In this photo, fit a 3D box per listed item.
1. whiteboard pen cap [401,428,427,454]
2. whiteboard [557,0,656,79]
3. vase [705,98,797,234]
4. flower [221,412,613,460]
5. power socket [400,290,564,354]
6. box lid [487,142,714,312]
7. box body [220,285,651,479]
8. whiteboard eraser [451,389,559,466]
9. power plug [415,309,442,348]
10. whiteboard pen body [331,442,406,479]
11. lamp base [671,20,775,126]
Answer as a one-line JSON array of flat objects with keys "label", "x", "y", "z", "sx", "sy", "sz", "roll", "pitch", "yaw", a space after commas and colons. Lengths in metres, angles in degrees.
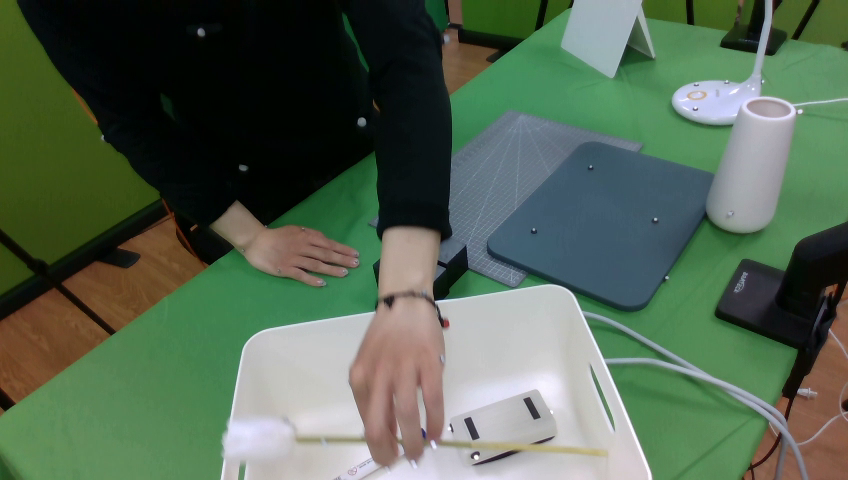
[{"label": "whiteboard pen cap", "x": -0.012, "y": 0.232, "z": 0.695, "sx": 0.033, "sy": 0.018, "sz": 0.018, "roll": -24, "pitch": 43, "yaw": -20}, {"label": "whiteboard", "x": 0.462, "y": -0.542, "z": 1.366, "sx": 0.145, "sy": 0.306, "sz": 0.215, "roll": -3, "pitch": 36, "yaw": -25}, {"label": "vase", "x": 0.480, "y": -0.103, "z": 0.888, "sx": 0.098, "sy": 0.201, "sz": 0.097, "roll": -4, "pitch": 42, "yaw": 4}, {"label": "flower", "x": 0.007, "y": 0.178, "z": 0.547, "sx": 0.363, "sy": 0.038, "sz": 0.044, "roll": 5, "pitch": 12, "yaw": -12}, {"label": "power socket", "x": 0.079, "y": 0.111, "z": 0.823, "sx": 0.227, "sy": 0.033, "sz": 0.072, "roll": -6, "pitch": 41, "yaw": 1}, {"label": "box lid", "x": 0.298, "y": -0.041, "z": 0.986, "sx": 0.261, "sy": 0.015, "sz": 0.372, "roll": 23, "pitch": 49, "yaw": 30}, {"label": "box body", "x": 0.005, "y": 0.211, "z": 0.616, "sx": 0.364, "sy": 0.161, "sz": 0.252, "roll": -9, "pitch": 40, "yaw": -2}, {"label": "whiteboard eraser", "x": 0.090, "y": 0.213, "z": 0.682, "sx": 0.113, "sy": 0.042, "sz": 0.055, "roll": -17, "pitch": 40, "yaw": -8}, {"label": "power plug", "x": 0.004, "y": 0.121, "z": 0.786, "sx": 0.035, "sy": 0.053, "sz": 0.072, "roll": 1, "pitch": 45, "yaw": 8}, {"label": "whiteboard pen body", "x": -0.063, "y": 0.254, "z": 0.677, "sx": 0.141, "sy": 0.017, "sz": 0.017, "roll": -24, "pitch": 43, "yaw": -22}, {"label": "lamp base", "x": 0.581, "y": -0.332, "z": 1.154, "sx": 0.179, "sy": 0.181, "sz": 0.160, "roll": 2, "pitch": 41, "yaw": 7}]
